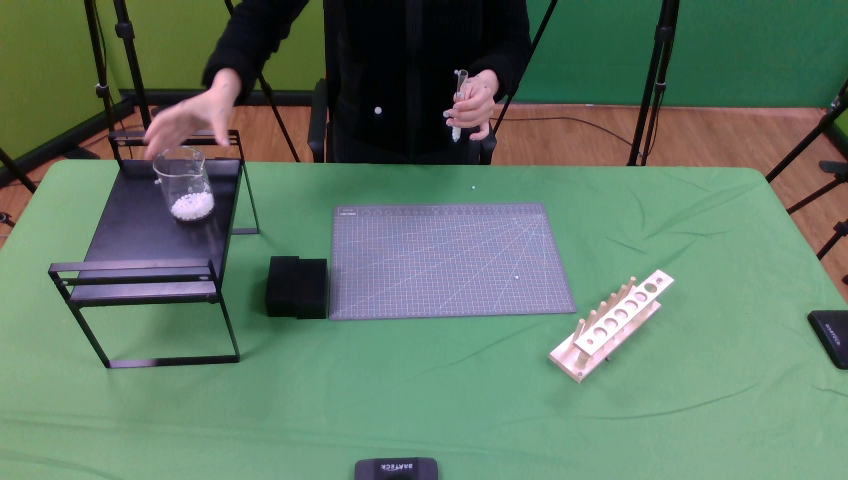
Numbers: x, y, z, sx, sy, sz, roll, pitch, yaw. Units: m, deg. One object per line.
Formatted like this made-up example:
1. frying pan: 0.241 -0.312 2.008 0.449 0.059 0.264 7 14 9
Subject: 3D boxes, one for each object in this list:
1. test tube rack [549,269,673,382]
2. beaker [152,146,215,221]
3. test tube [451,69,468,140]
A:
1. test tube rack: 0.325 0.134 1.047 0.242 0.085 0.066 -32 56 -30
2. beaker: -0.370 -0.084 0.949 0.083 0.101 0.074 26 50 19
3. test tube: 0.057 -0.220 1.001 0.017 0.151 0.017 1 57 -2
